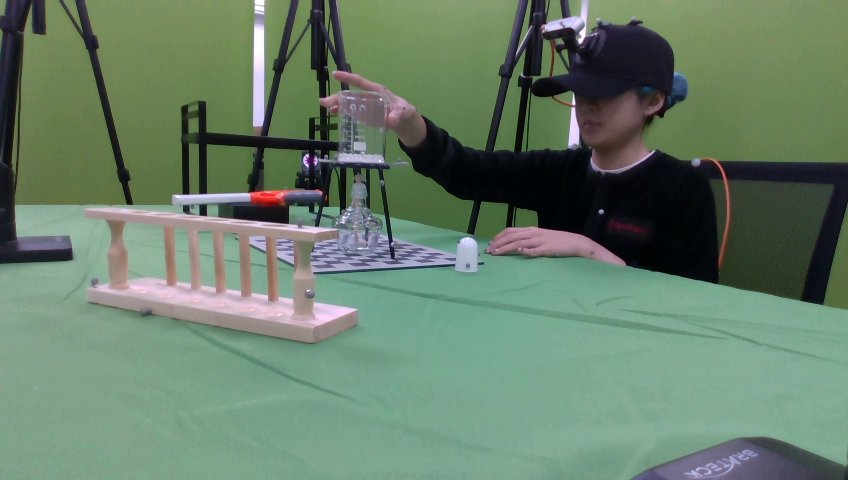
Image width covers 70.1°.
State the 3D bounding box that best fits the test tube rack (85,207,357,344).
[{"bbox_3d":[-0.177,0.022,0.518,0.241,0.085,0.067,6,7,23],"label":"test tube rack"}]

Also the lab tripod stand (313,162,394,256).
[{"bbox_3d":[-0.098,-0.048,0.897,0.148,0.131,0.148,1,6,0],"label":"lab tripod stand"}]

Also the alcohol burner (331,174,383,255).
[{"bbox_3d":[-0.098,-0.038,0.895,0.078,0.119,0.078,4,9,0],"label":"alcohol burner"}]

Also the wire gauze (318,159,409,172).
[{"bbox_3d":[-0.091,-0.112,0.887,0.122,0.011,0.124,3,3,-15],"label":"wire gauze"}]

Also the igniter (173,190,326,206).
[{"bbox_3d":[-0.317,-0.079,1.128,0.278,0.025,0.057,-4,13,-32],"label":"igniter"}]

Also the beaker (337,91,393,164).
[{"bbox_3d":[-0.087,-0.160,0.878,0.084,0.100,0.073,0,7,-24],"label":"beaker"}]

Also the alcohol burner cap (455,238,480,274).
[{"bbox_3d":[0.058,0.022,0.798,0.034,0.048,0.034,3,6,0],"label":"alcohol burner cap"}]
